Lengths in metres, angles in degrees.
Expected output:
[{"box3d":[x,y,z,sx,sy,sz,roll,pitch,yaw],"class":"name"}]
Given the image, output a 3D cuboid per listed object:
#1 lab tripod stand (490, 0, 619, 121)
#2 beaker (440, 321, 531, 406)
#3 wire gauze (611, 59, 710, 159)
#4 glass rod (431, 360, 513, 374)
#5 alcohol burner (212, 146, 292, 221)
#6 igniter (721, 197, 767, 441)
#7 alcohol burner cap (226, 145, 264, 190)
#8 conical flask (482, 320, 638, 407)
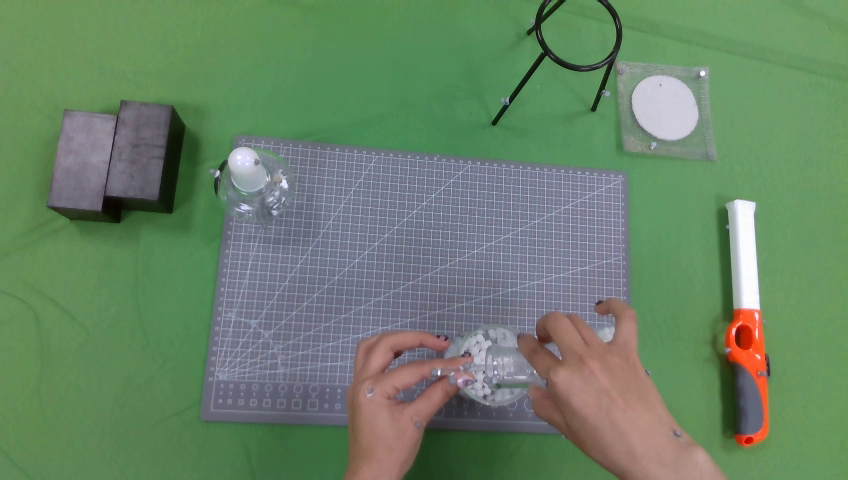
[{"box3d":[0.141,-0.196,0.660,0.149,0.131,0.148,1,80,-8],"class":"lab tripod stand"},{"box3d":[0.059,0.120,0.601,0.084,0.100,0.074,-39,86,-14],"class":"beaker"},{"box3d":[0.291,-0.162,0.739,0.125,0.011,0.121,3,79,-9],"class":"wire gauze"},{"box3d":[0.048,0.111,0.530,0.008,0.201,0.008,-4,79,24],"class":"glass rod"},{"box3d":[-0.171,-0.061,0.595,0.078,0.119,0.077,1,79,-5],"class":"alcohol burner"},{"box3d":[0.363,0.086,0.691,0.057,0.025,0.275,7,78,-18],"class":"igniter"},{"box3d":[-0.167,-0.070,0.561,0.034,0.048,0.033,3,71,-9],"class":"alcohol burner cap"},{"box3d":[0.113,0.107,0.521,0.122,0.075,0.075,0,78,-6],"class":"conical flask"}]
